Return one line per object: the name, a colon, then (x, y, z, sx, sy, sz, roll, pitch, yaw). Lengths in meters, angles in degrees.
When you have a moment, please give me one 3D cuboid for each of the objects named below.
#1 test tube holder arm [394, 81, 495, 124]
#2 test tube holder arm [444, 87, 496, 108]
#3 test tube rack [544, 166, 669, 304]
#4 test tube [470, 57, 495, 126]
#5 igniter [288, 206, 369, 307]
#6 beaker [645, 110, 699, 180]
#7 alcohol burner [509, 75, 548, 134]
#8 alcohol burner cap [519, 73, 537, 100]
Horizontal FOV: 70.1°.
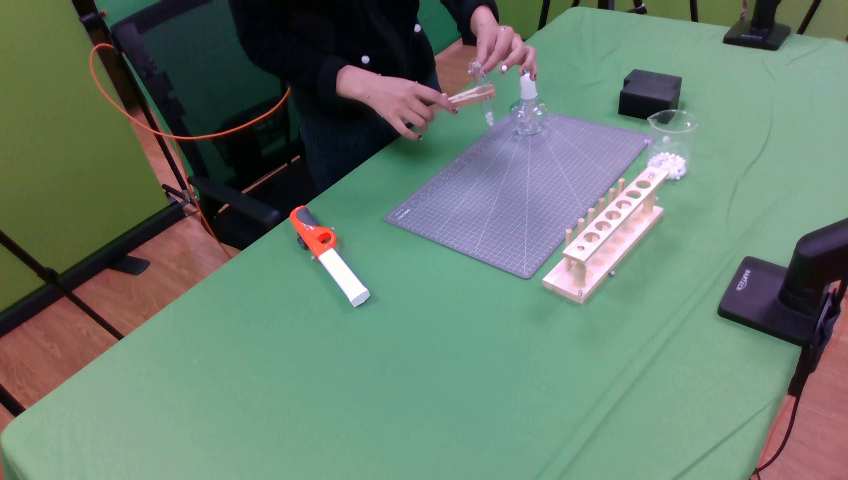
test tube holder arm: (0.034, -0.232, 1.027, 0.178, 0.015, 0.013, -16, 54, 12)
test tube holder arm: (0.076, -0.238, 1.014, 0.087, 0.015, 0.010, -10, 56, 16)
test tube rack: (0.274, -0.018, 0.903, 0.066, 0.085, 0.243, 26, 51, 35)
test tube: (0.099, -0.245, 1.014, 0.017, 0.151, 0.017, -8, 56, 13)
igniter: (-0.163, 0.018, 0.986, 0.057, 0.025, 0.274, -33, 45, -12)
beaker: (0.417, -0.160, 1.032, 0.083, 0.101, 0.074, 25, 51, 34)
alcohol burner: (0.204, -0.270, 1.186, 0.078, 0.119, 0.077, -5, 42, 5)
alcohol burner cap: (0.198, -0.298, 1.163, 0.034, 0.048, 0.033, -9, 37, 7)
